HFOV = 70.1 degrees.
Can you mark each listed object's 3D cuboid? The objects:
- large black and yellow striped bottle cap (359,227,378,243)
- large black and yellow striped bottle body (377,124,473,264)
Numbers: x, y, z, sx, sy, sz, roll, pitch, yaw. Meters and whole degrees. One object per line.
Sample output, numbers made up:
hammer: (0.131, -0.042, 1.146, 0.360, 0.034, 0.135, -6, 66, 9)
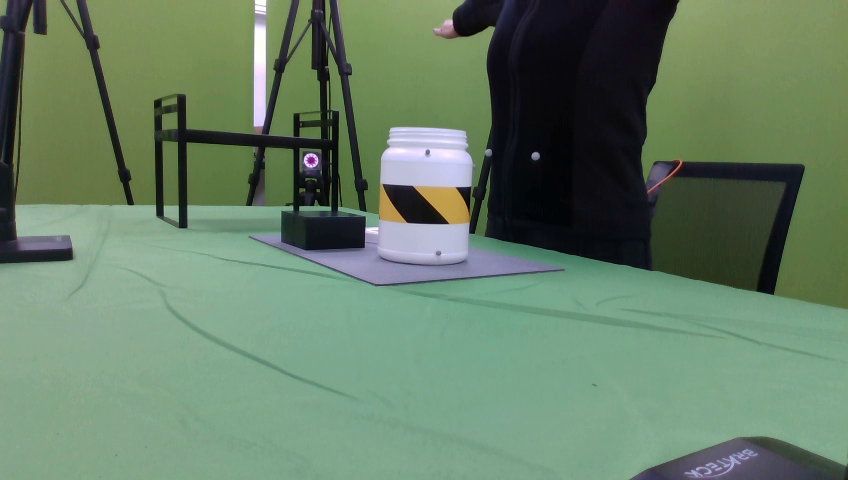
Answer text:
large black and yellow striped bottle cap: (-0.055, -0.010, 1.052, 0.115, 0.019, 0.115, 1, 7, 0)
large black and yellow striped bottle body: (0.001, -0.066, 0.851, 0.131, 0.184, 0.130, 2, 7, 0)
